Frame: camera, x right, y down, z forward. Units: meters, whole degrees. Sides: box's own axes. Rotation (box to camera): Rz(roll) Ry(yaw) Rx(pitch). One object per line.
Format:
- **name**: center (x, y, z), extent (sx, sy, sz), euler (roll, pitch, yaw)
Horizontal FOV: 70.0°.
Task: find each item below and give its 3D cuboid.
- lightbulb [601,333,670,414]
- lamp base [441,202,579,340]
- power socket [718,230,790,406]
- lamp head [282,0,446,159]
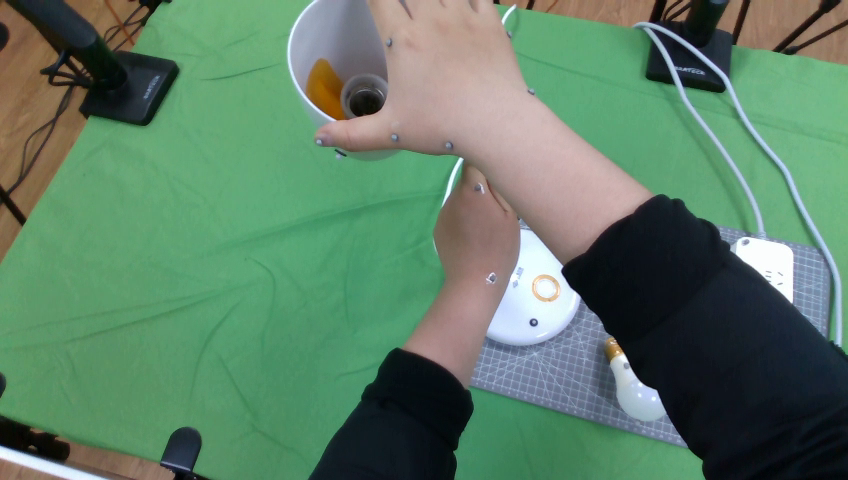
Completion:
- **lightbulb**: center (0.243, 0.154, 0.712), extent (0.059, 0.060, 0.106), euler (-21, 50, -7)
- **lamp base**: center (0.101, 0.017, 0.709), extent (0.179, 0.182, 0.159), euler (7, 66, 9)
- **power socket**: center (0.406, 0.088, 0.744), extent (0.072, 0.033, 0.225), euler (13, 66, 7)
- **lamp head**: center (-0.041, -0.111, 0.461), extent (0.112, 0.123, 0.112), euler (0, 74, -1)
